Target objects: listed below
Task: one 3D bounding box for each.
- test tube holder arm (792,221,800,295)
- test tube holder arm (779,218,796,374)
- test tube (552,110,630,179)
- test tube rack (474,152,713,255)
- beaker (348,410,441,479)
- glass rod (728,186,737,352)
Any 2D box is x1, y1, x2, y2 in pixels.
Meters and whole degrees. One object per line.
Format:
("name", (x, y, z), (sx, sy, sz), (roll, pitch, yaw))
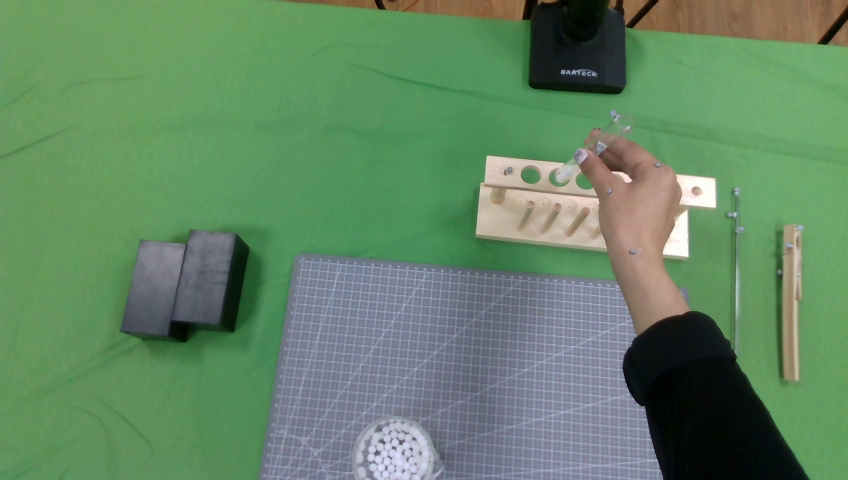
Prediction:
("test tube holder arm", (0.422, 0.020, 0.695), (0.010, 0.015, 0.087), (20, 72, -27))
("test tube holder arm", (0.409, 0.061, 0.680), (0.013, 0.015, 0.177), (19, 72, -27))
("test tube", (0.153, -0.085, 0.572), (0.017, 0.150, 0.017), (2, 78, -8))
("test tube rack", (0.182, -0.039, 0.675), (0.242, 0.085, 0.066), (6, 72, 1))
("beaker", (-0.026, 0.206, 0.588), (0.084, 0.101, 0.073), (9, 73, 2))
("glass rod", (0.354, 0.030, 0.696), (0.008, 0.008, 0.198), (9, 73, 2))
